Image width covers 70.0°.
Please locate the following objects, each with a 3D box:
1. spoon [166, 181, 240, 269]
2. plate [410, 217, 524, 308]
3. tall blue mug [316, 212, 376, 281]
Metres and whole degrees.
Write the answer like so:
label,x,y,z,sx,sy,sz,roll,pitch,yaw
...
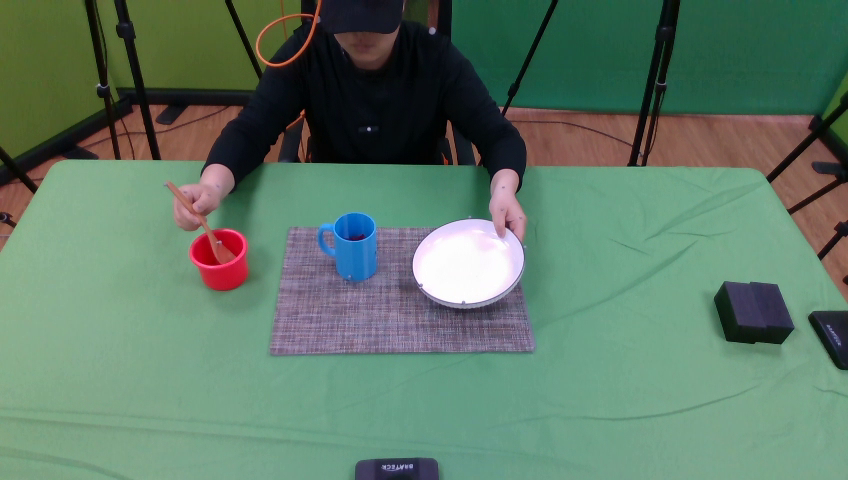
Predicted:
label,x,y,z,sx,sy,sz,roll,pitch,yaw
spoon,-0.386,-0.025,1.062,0.021,0.194,0.041,-19,27,19
plate,0.079,0.045,1.110,0.207,0.039,0.206,-6,47,7
tall blue mug,-0.142,0.014,1.109,0.107,0.108,0.077,-5,47,-8
